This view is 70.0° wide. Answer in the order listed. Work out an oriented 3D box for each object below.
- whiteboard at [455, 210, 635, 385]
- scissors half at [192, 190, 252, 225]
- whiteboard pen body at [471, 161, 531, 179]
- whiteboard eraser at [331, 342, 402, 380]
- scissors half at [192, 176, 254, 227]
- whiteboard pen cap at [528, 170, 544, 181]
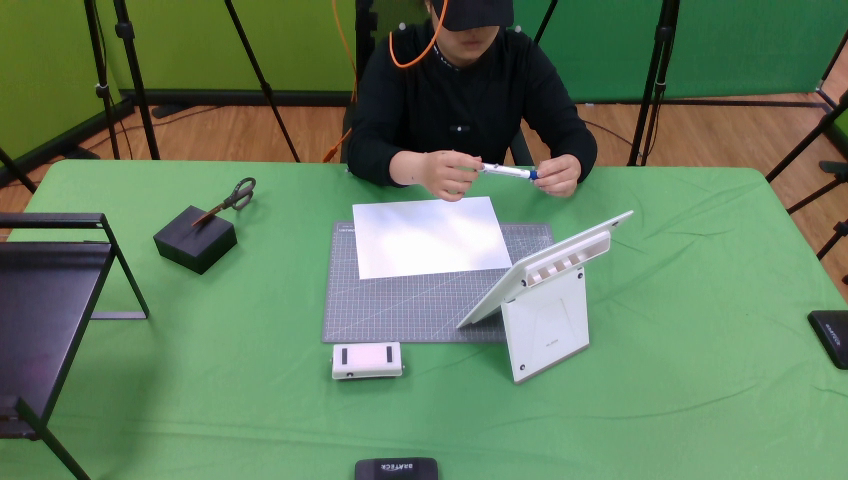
[{"bbox_3d":[0.211,0.111,0.955,0.217,0.306,0.143,-21,72,-23],"label":"whiteboard"},{"bbox_3d":[-0.393,-0.060,1.187,0.013,0.040,0.175,25,29,12],"label":"scissors half"},{"bbox_3d":[0.150,-0.124,1.095,0.141,0.017,0.017,7,43,-22],"label":"whiteboard pen body"},{"bbox_3d":[-0.094,0.198,0.986,0.113,0.042,0.055,-2,44,-6],"label":"whiteboard eraser"},{"bbox_3d":[-0.388,-0.075,1.174,0.013,0.040,0.174,29,47,8],"label":"scissors half"},{"bbox_3d":[0.204,-0.119,1.116,0.033,0.018,0.018,4,43,-27],"label":"whiteboard pen cap"}]
